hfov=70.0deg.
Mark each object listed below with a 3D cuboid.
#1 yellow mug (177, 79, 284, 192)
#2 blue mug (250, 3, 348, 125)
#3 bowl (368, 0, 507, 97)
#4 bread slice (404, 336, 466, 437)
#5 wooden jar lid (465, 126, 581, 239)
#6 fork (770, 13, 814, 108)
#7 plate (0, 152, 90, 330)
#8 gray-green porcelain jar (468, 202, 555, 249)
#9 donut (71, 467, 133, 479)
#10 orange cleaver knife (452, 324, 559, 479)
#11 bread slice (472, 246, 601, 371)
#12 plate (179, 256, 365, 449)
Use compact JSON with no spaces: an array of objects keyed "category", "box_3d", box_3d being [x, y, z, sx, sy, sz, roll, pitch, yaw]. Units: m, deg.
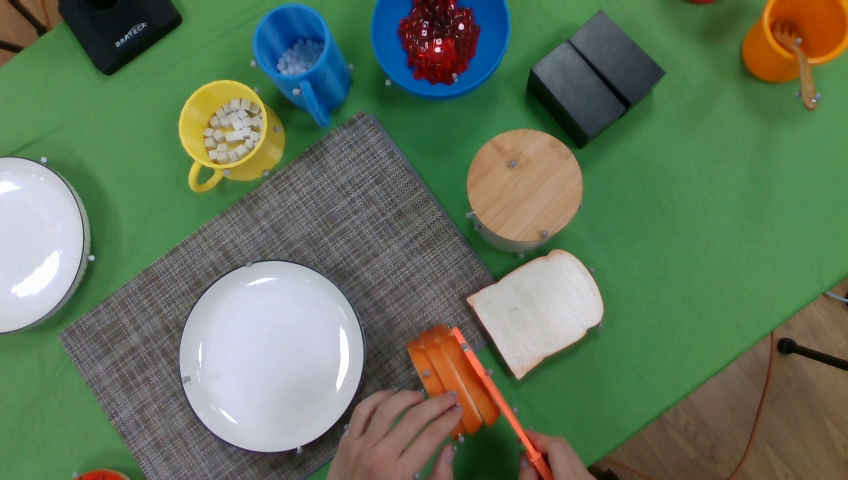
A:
[{"category":"yellow mug","box_3d":[-0.228,-0.112,0.694,0.099,0.064,0.131,32,88,8]},{"category":"blue mug","box_3d":[-0.131,-0.185,0.675,0.082,0.106,0.116,-16,83,3]},{"category":"bowl","box_3d":[0.017,-0.224,0.682,0.151,0.077,0.151,0,84,4]},{"category":"bread slice","box_3d":[0.010,0.145,0.617,0.018,0.135,0.106,-29,81,-5]},{"category":"wooden jar lid","box_3d":[0.092,-0.053,0.572,0.108,0.021,0.108,0,84,2]},{"category":"fork","box_3d":[0.376,-0.188,0.616,0.028,0.019,0.206,26,42,0]},{"category":"plate","box_3d":[-0.491,0.002,0.716,0.207,0.039,0.207,0,84,4]},{"category":"gray-green porcelain jar","box_3d":[0.098,-0.046,0.634,0.106,0.127,0.105,0,83,4]},{"category":"donut","box_3d":[-0.360,0.303,0.672,0.099,0.048,0.098,0,83,2]},{"category":"orange cleaver knife","box_3d":[0.085,0.170,0.586,0.012,0.076,0.212,-32,107,0]},{"category":"bread slice","box_3d":[0.133,0.073,0.685,0.131,0.019,0.104,-34,74,18]},{"category":"plate","box_3d":[-0.166,0.123,0.676,0.209,0.038,0.208,0,84,5]}]
